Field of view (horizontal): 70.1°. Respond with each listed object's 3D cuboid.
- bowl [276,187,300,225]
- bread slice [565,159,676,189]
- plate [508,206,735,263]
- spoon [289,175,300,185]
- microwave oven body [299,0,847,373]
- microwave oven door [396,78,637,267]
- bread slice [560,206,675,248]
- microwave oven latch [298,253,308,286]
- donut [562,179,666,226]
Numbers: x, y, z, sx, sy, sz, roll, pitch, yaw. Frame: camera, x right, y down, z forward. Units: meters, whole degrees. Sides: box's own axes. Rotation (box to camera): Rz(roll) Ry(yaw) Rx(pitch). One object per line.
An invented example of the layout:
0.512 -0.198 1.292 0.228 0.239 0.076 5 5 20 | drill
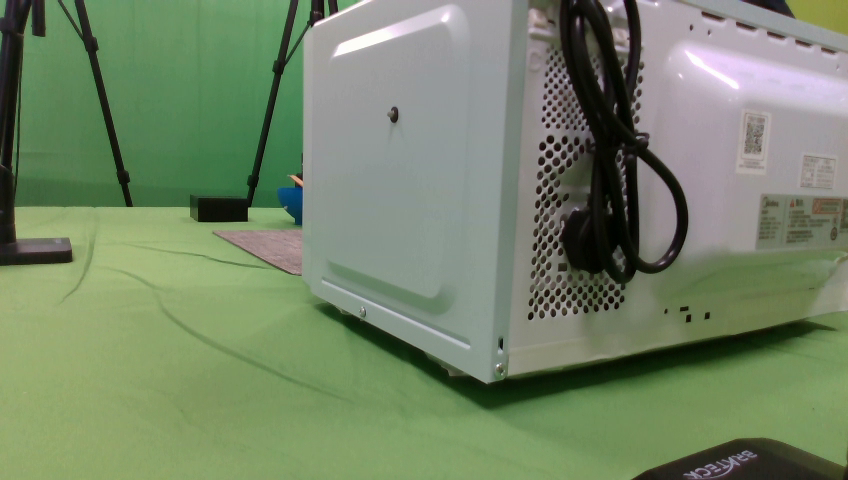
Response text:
-0.241 -0.073 1.302 0.151 0.077 0.151 2 7 0 | bowl
0.188 -0.063 0.577 0.104 0.019 0.132 8 6 16 | bread slice
0.186 -0.007 0.590 0.208 0.039 0.207 2 7 0 | plate
-0.260 -0.110 1.343 0.042 0.021 0.192 -9 34 -30 | spoon
0.152 -0.055 0.542 0.444 0.260 0.324 -2 7 -33 | microwave oven body
0.115 -0.103 0.871 0.354 0.243 0.039 7 8 33 | microwave oven door
0.187 -0.013 0.579 0.107 0.018 0.134 -6 8 12 | bread slice
-0.081 0.027 0.582 0.079 0.029 0.030 -1 7 -32 | microwave oven latch
0.184 -0.036 0.588 0.099 0.048 0.099 0 4 0 | donut
